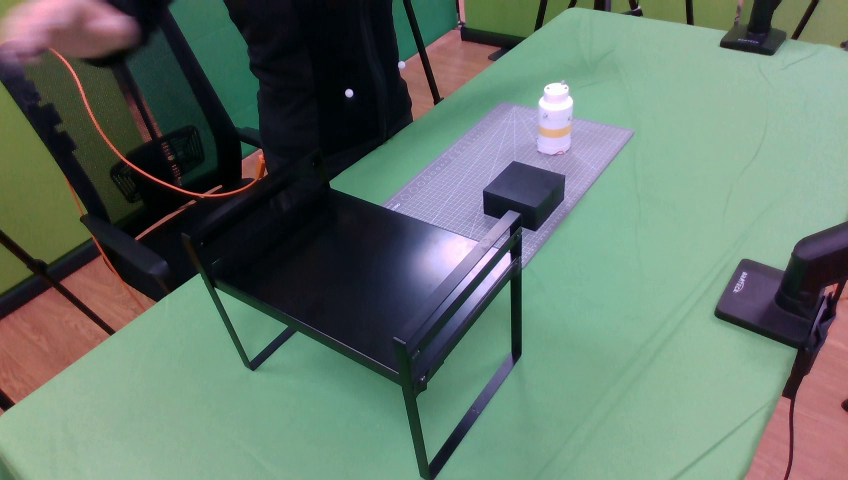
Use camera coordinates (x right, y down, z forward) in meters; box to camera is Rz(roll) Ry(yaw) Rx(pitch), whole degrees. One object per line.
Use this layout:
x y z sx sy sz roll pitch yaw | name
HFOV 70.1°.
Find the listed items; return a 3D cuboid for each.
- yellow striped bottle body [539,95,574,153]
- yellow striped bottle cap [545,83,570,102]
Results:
0.245 -0.227 1.123 0.063 0.121 0.062 -5 41 5 | yellow striped bottle body
0.240 -0.266 1.089 0.044 0.019 0.044 -4 37 3 | yellow striped bottle cap
